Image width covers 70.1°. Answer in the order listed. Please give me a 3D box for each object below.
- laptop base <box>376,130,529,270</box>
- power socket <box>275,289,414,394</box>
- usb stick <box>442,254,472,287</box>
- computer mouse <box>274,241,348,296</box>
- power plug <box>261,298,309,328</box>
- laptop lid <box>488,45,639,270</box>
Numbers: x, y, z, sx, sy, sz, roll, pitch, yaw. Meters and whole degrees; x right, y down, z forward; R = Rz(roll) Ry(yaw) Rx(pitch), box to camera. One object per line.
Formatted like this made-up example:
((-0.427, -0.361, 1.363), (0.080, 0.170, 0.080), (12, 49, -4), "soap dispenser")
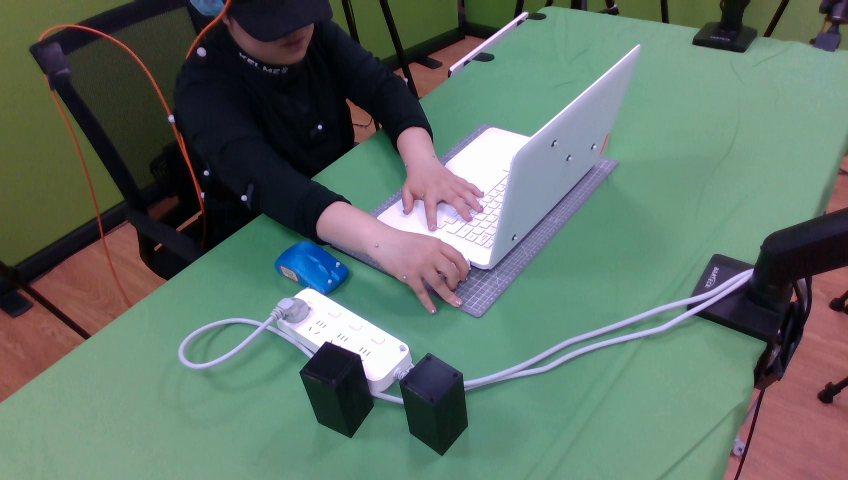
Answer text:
((0.115, -0.086, 1.056), (0.233, 0.023, 0.355), (21, 47, 35), "laptop base")
((-0.115, 0.133, 0.820), (0.225, 0.033, 0.072), (25, 49, 32), "power socket")
((0.053, 0.041, 0.897), (0.021, 0.027, 0.059), (26, 51, 34), "usb stick")
((-0.176, 0.041, 0.935), (0.116, 0.041, 0.063), (26, 49, 28), "computer mouse")
((-0.192, 0.108, 0.830), (0.073, 0.053, 0.035), (-33, 43, -26), "power plug")
((0.213, -0.125, 0.907), (0.013, 0.242, 0.358), (33, 52, 23), "laptop lid")
